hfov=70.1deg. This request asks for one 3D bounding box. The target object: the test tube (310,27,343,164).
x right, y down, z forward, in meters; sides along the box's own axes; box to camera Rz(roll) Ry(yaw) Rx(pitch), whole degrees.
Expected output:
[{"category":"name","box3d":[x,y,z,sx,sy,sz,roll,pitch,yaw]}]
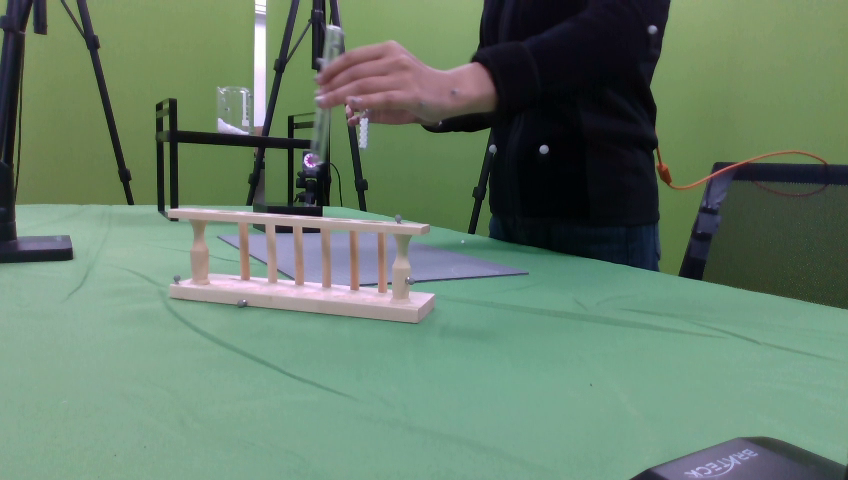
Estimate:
[{"category":"test tube","box3d":[-0.109,-0.158,0.669,0.017,0.150,0.017,10,6,-1]}]

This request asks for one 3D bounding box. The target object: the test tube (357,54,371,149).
[{"category":"test tube","box3d":[-0.097,-0.223,0.977,0.017,0.150,0.017,3,5,0]}]

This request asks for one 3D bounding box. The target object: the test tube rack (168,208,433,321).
[{"category":"test tube rack","box3d":[-0.116,0.018,0.574,0.242,0.085,0.067,4,8,14]}]

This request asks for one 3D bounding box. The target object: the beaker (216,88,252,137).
[{"category":"beaker","box3d":[-0.412,-0.276,1.310,0.074,0.100,0.084,4,8,16]}]
